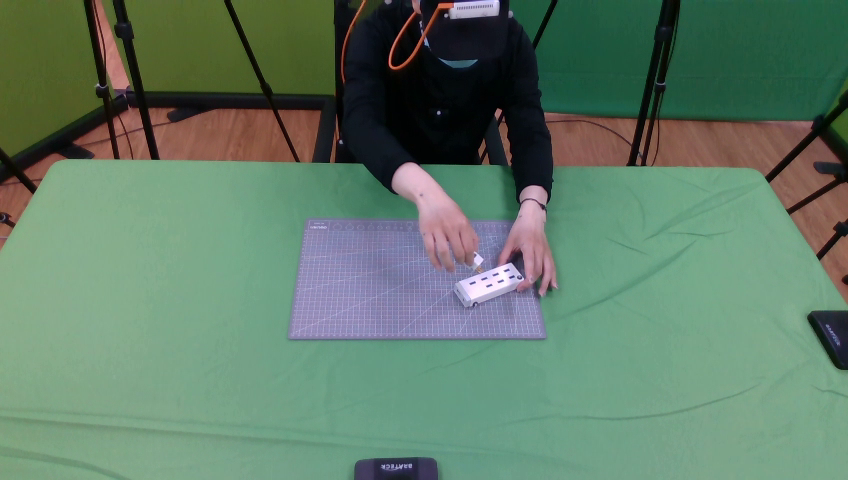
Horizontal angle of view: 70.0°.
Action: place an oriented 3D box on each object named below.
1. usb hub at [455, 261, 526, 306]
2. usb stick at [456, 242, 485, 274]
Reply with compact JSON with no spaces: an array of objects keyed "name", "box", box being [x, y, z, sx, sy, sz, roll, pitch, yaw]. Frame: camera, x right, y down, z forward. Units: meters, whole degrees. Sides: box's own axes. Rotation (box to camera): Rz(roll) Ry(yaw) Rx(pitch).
[{"name":"usb hub","box":[0.123,0.081,1.118,0.125,0.025,0.049,-18,50,-19]},{"name":"usb stick","box":[0.088,0.034,1.074,0.059,0.027,0.021,45,47,-3]}]
